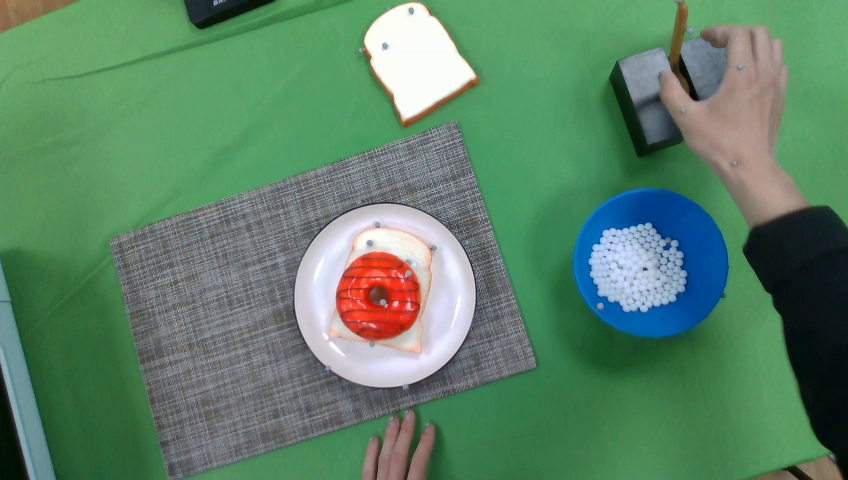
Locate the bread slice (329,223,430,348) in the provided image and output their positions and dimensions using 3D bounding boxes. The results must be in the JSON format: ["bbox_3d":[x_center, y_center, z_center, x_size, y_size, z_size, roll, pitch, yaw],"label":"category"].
[{"bbox_3d":[-0.047,0.049,0.687,0.107,0.018,0.134,7,86,7],"label":"bread slice"}]

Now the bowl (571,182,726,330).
[{"bbox_3d":[0.228,0.019,0.642,0.151,0.077,0.151,-1,85,6],"label":"bowl"}]

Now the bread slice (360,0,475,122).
[{"bbox_3d":[-0.017,-0.221,0.721,0.105,0.019,0.131,-32,84,2],"label":"bread slice"}]

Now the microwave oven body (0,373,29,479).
[{"bbox_3d":[-0.623,0.241,0.621,0.326,0.261,0.440,-20,84,4],"label":"microwave oven body"}]

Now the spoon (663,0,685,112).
[{"bbox_3d":[0.247,-0.179,0.600,0.021,0.195,0.041,-18,71,18],"label":"spoon"}]

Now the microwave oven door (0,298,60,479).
[{"bbox_3d":[-0.472,0.229,0.600,0.039,0.244,0.354,-21,83,4],"label":"microwave oven door"}]

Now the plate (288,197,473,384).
[{"bbox_3d":[-0.048,0.056,0.686,0.207,0.039,0.207,-1,85,6],"label":"plate"}]

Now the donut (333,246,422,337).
[{"bbox_3d":[-0.050,0.055,0.658,0.099,0.048,0.099,-1,85,7],"label":"donut"}]

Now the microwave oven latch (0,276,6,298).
[{"bbox_3d":[-0.531,0.035,0.726,0.030,0.029,0.079,-20,84,4],"label":"microwave oven latch"}]
